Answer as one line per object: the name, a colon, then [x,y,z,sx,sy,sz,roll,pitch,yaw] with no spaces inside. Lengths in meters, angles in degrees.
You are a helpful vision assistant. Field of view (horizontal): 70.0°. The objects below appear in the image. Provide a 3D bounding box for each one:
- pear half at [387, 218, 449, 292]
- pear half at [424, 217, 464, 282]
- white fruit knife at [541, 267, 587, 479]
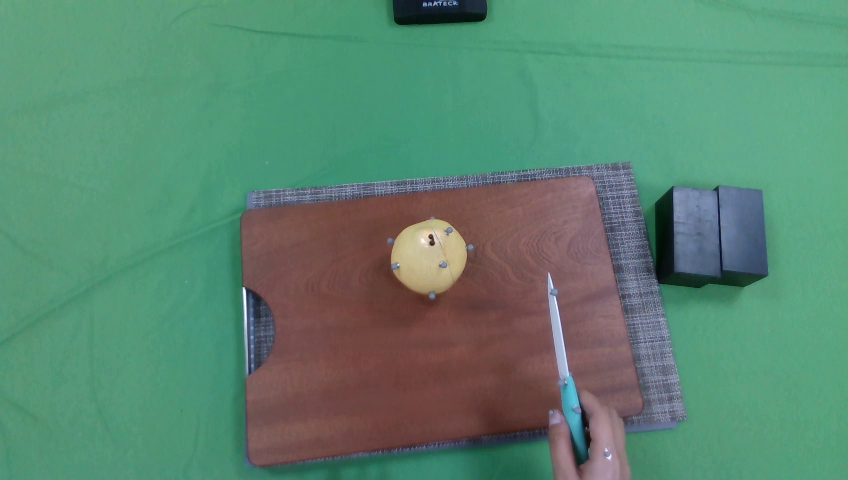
pear half: [-0.008,0.015,0.603,0.056,0.110,0.076,-27,72,-10]
pear half: [0.023,0.004,0.618,0.031,0.088,0.070,-27,71,-10]
white fruit knife: [0.122,0.123,0.537,0.016,0.027,0.208,-14,102,-11]
